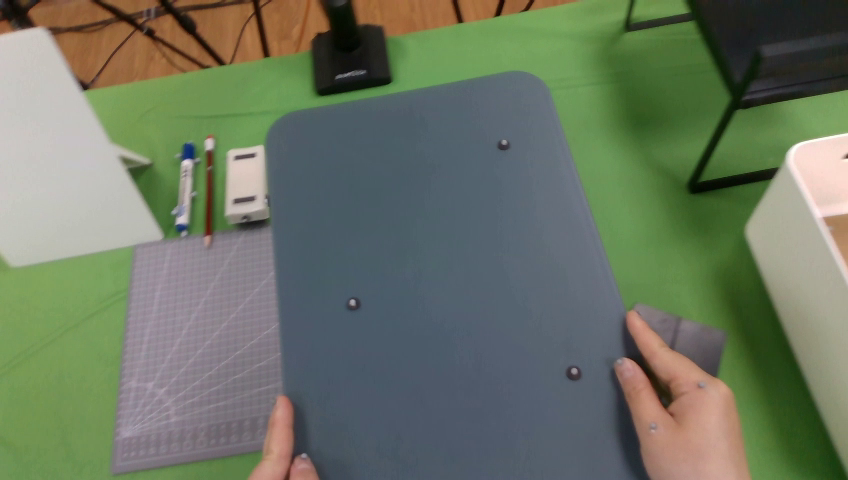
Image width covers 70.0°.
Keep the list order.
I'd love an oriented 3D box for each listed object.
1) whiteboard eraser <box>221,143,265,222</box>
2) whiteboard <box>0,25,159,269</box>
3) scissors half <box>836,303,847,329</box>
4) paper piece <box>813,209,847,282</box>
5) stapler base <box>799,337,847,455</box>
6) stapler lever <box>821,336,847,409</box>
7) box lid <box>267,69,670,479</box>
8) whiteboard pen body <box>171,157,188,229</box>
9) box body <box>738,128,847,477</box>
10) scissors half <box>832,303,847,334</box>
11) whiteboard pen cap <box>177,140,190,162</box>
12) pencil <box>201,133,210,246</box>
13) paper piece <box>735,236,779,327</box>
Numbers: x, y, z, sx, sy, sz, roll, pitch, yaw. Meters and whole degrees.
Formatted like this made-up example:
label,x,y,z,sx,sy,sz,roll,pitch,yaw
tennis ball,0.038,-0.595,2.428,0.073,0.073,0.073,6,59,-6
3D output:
label,x,y,z,sx,sy,sz,roll,pitch,yaw
whiteboard eraser,-0.251,-0.079,0.840,0.055,0.042,0.111,-10,62,1
whiteboard,-0.495,-0.136,0.779,0.217,0.308,0.142,-10,43,1
scissors half,0.487,0.146,0.661,0.040,0.013,0.173,-3,57,4
paper piece,0.472,0.027,0.723,0.135,0.004,0.134,-7,62,0
stapler base,0.451,0.165,0.650,0.041,0.024,0.129,-13,66,2
stapler lever,0.449,0.156,0.626,0.027,0.040,0.117,-13,66,2
box lid,0.014,0.020,0.482,0.263,0.015,0.368,-10,64,-2
whiteboard pen body,-0.347,-0.078,0.862,0.017,0.017,0.139,-9,62,1
box body,0.522,0.068,0.620,0.254,0.162,0.360,-10,62,1
scissors half,0.508,0.142,0.662,0.040,0.013,0.173,-18,59,-12
whiteboard pen cap,-0.352,-0.129,0.889,0.018,0.018,0.033,-11,61,0
pencil,-0.310,-0.075,0.861,0.012,0.012,0.192,-12,62,-1
paper piece,0.475,0.034,0.742,0.136,0.009,0.137,-15,54,17
